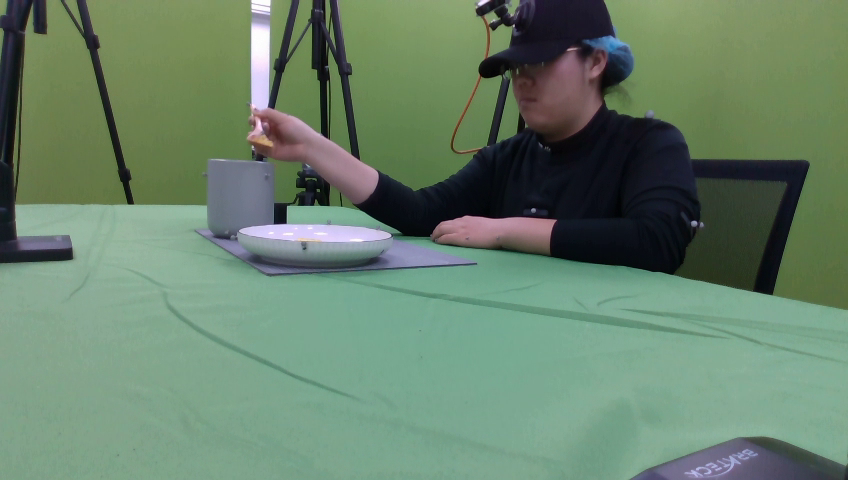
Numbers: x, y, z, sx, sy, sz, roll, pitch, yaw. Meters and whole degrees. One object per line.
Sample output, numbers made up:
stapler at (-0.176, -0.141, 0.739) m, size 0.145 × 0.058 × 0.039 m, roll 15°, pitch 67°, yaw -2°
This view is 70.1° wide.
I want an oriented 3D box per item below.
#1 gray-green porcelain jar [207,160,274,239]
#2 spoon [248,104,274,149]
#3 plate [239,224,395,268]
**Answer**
gray-green porcelain jar at (-0.304, -0.068, 1.004) m, size 0.106 × 0.126 × 0.106 m, roll 3°, pitch 7°, yaw 0°
spoon at (-0.277, -0.193, 1.013) m, size 0.042 × 0.021 × 0.193 m, roll 12°, pitch 29°, yaw -26°
plate at (-0.144, 0.007, 0.823) m, size 0.208 × 0.039 × 0.207 m, roll 3°, pitch 7°, yaw 0°
